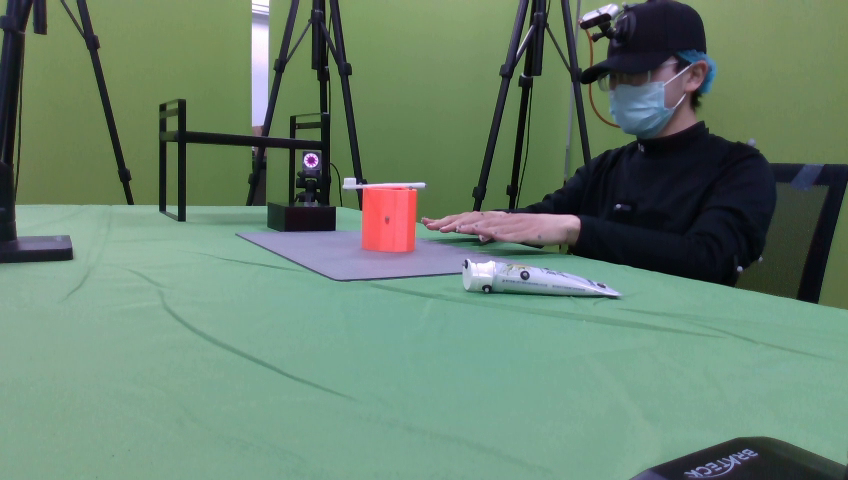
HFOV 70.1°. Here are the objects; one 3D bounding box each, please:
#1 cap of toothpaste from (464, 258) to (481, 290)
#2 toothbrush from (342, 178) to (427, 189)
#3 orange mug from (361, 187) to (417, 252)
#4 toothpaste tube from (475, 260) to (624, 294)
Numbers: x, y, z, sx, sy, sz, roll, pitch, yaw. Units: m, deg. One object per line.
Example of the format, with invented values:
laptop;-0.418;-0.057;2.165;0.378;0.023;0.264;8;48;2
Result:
cap of toothpaste;0.053;0.037;0.660;0.011;0.037;0.037;-1;8;-15
toothbrush;-0.058;-0.089;0.948;0.014;0.016;0.183;5;7;41
orange mug;-0.054;-0.039;0.962;0.083;0.101;0.126;2;12;0
toothpaste tube;0.133;0.045;0.668;0.165;0.034;0.055;5;14;-7
